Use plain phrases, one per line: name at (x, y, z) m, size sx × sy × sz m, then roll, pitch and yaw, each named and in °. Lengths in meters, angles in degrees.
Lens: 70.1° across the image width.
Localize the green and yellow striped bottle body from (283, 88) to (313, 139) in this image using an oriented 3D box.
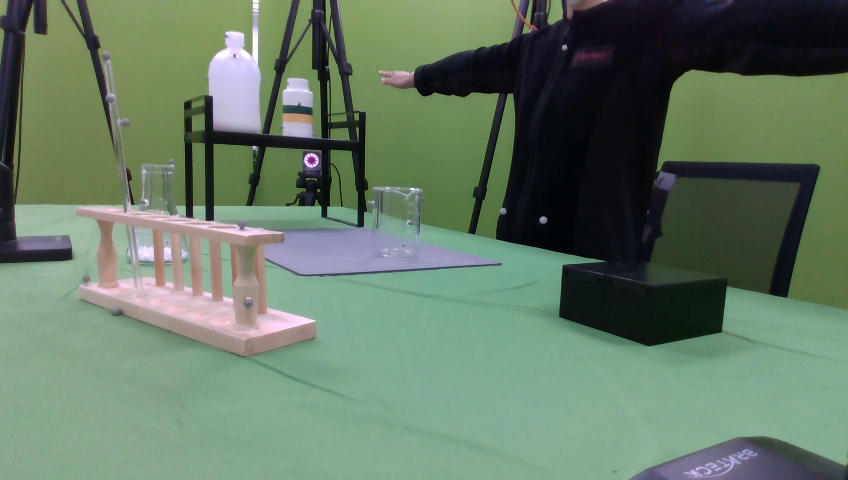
green and yellow striped bottle body at (-0.266, -0.275, 1.275) m, size 0.063 × 0.119 × 0.063 m, roll 3°, pitch 7°, yaw 0°

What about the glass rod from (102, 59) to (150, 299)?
glass rod at (-0.243, -0.045, 0.496) m, size 0.008 × 0.199 × 0.008 m, roll -4°, pitch 13°, yaw 1°

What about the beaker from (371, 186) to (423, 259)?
beaker at (-0.038, -0.025, 0.868) m, size 0.074 × 0.100 × 0.083 m, roll -1°, pitch 8°, yaw -22°

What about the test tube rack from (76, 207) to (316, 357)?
test tube rack at (-0.196, 0.023, 0.500) m, size 0.241 × 0.085 × 0.067 m, roll 8°, pitch 9°, yaw 36°

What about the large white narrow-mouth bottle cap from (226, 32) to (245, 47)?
large white narrow-mouth bottle cap at (-0.368, -0.391, 1.183) m, size 0.038 × 0.024 × 0.037 m, roll 4°, pitch 8°, yaw 0°

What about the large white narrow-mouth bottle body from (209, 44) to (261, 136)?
large white narrow-mouth bottle body at (-0.373, -0.306, 1.197) m, size 0.102 × 0.194 × 0.102 m, roll 4°, pitch 8°, yaw 0°

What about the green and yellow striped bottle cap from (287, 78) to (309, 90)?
green and yellow striped bottle cap at (-0.265, -0.326, 1.268) m, size 0.045 × 0.020 × 0.045 m, roll 4°, pitch 6°, yaw 0°

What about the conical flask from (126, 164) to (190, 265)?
conical flask at (-0.332, -0.033, 0.756) m, size 0.075 × 0.122 × 0.075 m, roll 2°, pitch 8°, yaw 0°
